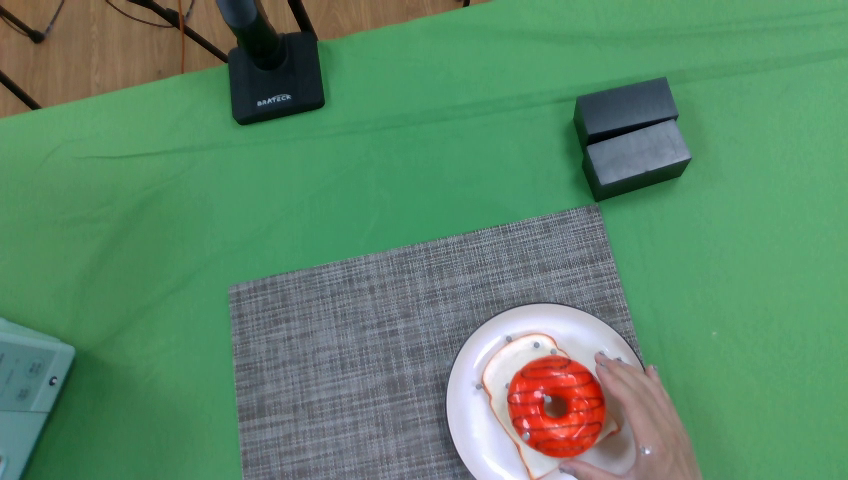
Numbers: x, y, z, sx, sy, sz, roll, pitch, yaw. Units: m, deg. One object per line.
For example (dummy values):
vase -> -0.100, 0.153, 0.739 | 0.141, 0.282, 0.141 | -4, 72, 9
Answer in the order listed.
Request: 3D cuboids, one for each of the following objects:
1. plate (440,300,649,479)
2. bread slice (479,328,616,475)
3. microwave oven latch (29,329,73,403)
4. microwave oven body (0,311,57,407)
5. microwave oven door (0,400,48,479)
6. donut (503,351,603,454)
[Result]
plate -> 0.121, 0.167, 0.627 | 0.207, 0.039, 0.206 | -2, 74, 7
bread slice -> 0.119, 0.160, 0.631 | 0.105, 0.019, 0.130 | -32, 73, -3
microwave oven latch -> -0.437, 0.146, 0.697 | 0.030, 0.030, 0.079 | 18, 77, 12
microwave oven body -> -0.644, 0.243, 0.597 | 0.325, 0.262, 0.440 | 15, 77, 12
microwave oven door -> -0.520, 0.318, 0.552 | 0.039, 0.245, 0.354 | 15, 76, 13
donut -> 0.127, 0.160, 0.598 | 0.099, 0.048, 0.098 | -1, 74, 4
